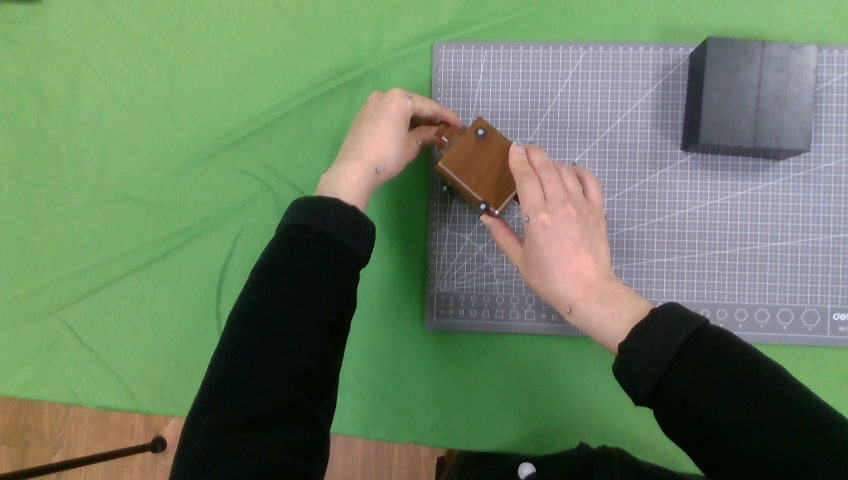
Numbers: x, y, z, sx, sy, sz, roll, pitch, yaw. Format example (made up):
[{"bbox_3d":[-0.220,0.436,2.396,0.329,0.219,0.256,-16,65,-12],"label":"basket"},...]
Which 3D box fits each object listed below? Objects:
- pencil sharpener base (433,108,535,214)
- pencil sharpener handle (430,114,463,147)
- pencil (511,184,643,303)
[{"bbox_3d":[0.054,-0.072,0.570,0.076,0.107,0.061,42,93,4],"label":"pencil sharpener base"},{"bbox_3d":[0.016,-0.107,0.560,0.030,0.068,0.036,42,98,4],"label":"pencil sharpener handle"},{"bbox_3d":[0.121,-0.011,0.543,0.194,0.012,0.012,42,93,1],"label":"pencil"}]
